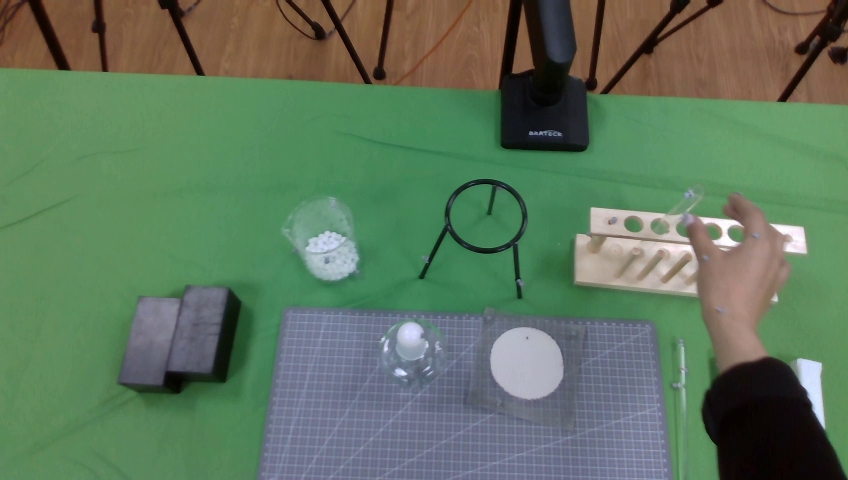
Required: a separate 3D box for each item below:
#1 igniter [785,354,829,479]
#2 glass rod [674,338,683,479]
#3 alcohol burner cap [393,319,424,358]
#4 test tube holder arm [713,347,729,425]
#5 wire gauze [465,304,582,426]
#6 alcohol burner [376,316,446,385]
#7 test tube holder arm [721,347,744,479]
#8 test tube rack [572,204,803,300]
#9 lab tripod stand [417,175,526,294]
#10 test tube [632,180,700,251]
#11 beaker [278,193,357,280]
[{"bbox_3d":[0.416,0.259,0.649,0.057,0.025,0.274,13,66,-6],"label":"igniter"},{"bbox_3d":[0.287,0.208,0.681,0.008,0.008,0.198,7,69,3],"label":"glass rod"},{"bbox_3d":[-0.016,0.099,0.628,0.034,0.048,0.033,1,59,-1],"label":"alcohol burner cap"},{"bbox_3d":[0.343,0.168,0.696,0.010,0.015,0.087,-12,61,35],"label":"test tube holder arm"},{"bbox_3d":[0.118,0.142,0.708,0.125,0.011,0.121,13,68,4],"label":"wire gauze"},{"bbox_3d":[-0.015,0.116,0.660,0.078,0.120,0.077,-1,66,2],"label":"alcohol burner"},{"bbox_3d":[0.344,0.208,0.675,0.013,0.015,0.177,-13,61,34],"label":"test tube holder arm"},{"bbox_3d":[0.307,0.016,0.724,0.242,0.086,0.066,5,66,2],"label":"test tube rack"},{"bbox_3d":[0.061,-0.003,0.705,0.148,0.132,0.147,0,68,0],"label":"lab tripod stand"},{"bbox_3d":[0.271,-0.023,0.688,0.017,0.151,0.017,2,64,-4],"label":"test tube"},{"bbox_3d":[-0.122,0.001,0.721,0.084,0.101,0.073,-5,66,-2],"label":"beaker"}]
